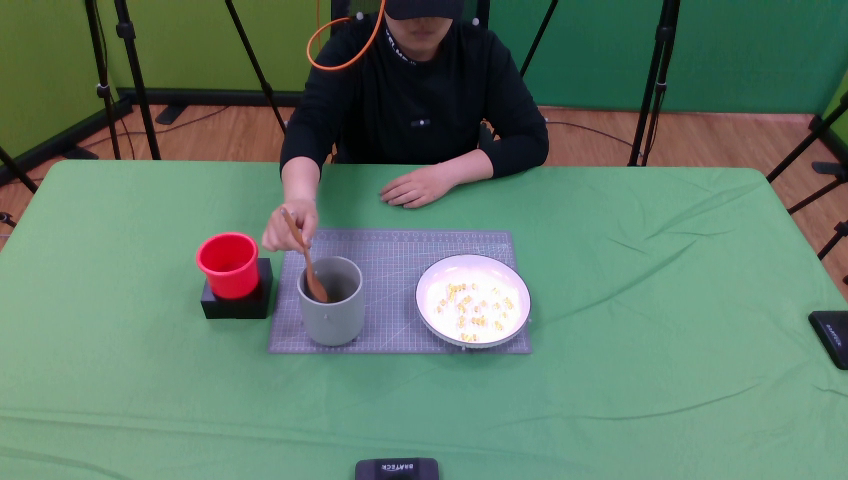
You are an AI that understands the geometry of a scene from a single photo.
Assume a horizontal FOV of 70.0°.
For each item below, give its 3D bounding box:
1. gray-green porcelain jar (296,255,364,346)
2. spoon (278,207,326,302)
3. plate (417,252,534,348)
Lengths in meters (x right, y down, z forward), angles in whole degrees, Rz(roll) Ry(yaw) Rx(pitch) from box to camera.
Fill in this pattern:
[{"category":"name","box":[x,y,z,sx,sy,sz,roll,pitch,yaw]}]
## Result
[{"category":"gray-green porcelain jar","box":[-0.153,0.106,1.008,0.106,0.127,0.105,2,46,-2]},{"category":"spoon","box":[-0.190,0.025,0.954,0.021,0.195,0.041,-8,38,4]},{"category":"plate","box":[0.090,0.109,1.084,0.208,0.039,0.206,2,46,-2]}]
